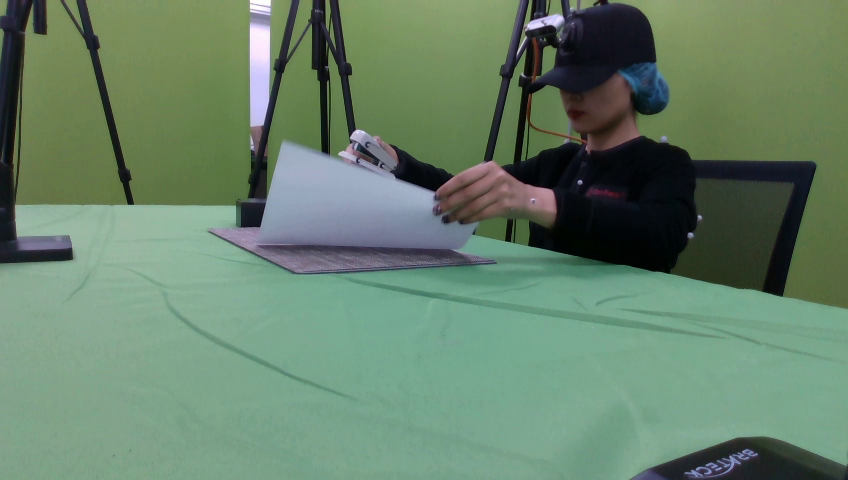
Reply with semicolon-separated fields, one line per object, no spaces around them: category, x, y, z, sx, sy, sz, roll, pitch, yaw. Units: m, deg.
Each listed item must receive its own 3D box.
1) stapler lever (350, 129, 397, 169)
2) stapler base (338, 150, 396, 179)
stapler lever;-0.089;-0.165;1.099;0.026;0.040;0.119;28;5;37
stapler base;-0.100;-0.143;1.099;0.041;0.024;0.131;28;4;37
